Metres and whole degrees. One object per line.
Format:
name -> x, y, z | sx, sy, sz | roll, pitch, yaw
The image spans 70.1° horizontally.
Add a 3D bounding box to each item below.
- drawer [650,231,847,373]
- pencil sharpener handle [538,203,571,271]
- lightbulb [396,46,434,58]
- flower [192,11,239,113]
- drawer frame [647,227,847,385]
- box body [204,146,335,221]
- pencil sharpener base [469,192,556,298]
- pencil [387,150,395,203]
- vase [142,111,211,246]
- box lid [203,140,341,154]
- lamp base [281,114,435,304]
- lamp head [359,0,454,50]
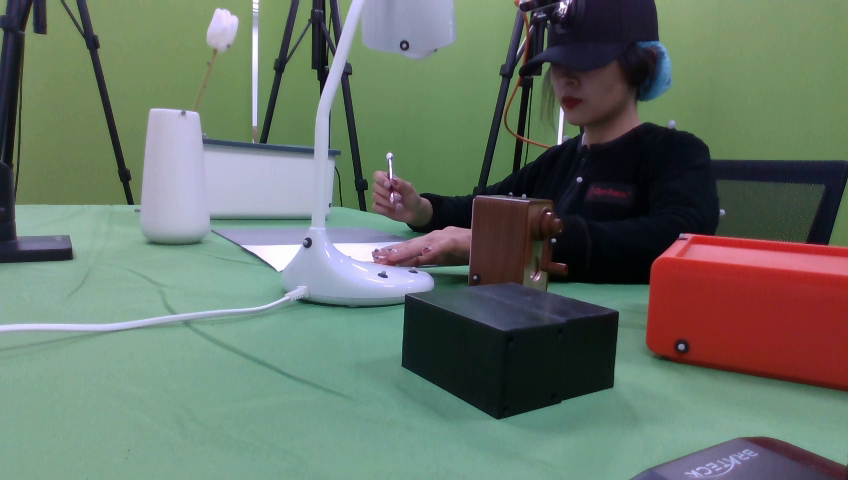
drawer -> 0.303, 0.044, 0.499 | 0.194, 0.073, 0.212 | 7, 9, 27
pencil sharpener handle -> 0.137, -0.003, 0.619 | 0.030, 0.067, 0.036 | 8, 6, 38
lightbulb -> -0.017, -0.264, 0.693 | 0.059, 0.108, 0.059 | -9, 28, 5
flower -> -0.354, -0.174, 0.915 | 0.038, 0.361, 0.044 | 18, -4, 12
drawer frame -> 0.303, 0.043, 0.495 | 0.201, 0.082, 0.214 | 6, 9, 26
box body -> -0.411, -0.135, 1.386 | 0.366, 0.160, 0.253 | -2, 9, -29
pencil sharpener base -> 0.097, 0.003, 0.652 | 0.076, 0.107, 0.061 | 8, 9, 38
pencil -> -0.059, -0.115, 1.084 | 0.012, 0.012, 0.193 | 1, 34, -6
vase -> -0.378, -0.093, 0.920 | 0.098, 0.200, 0.098 | 2, 9, 0
box lid -> -0.396, -0.212, 1.373 | 0.373, 0.015, 0.262 | -1, 9, -29
lamp base -> -0.071, -0.034, 0.615 | 0.160, 0.180, 0.180 | 5, 10, 27
lamp head -> -0.023, -0.282, 0.675 | 0.112, 0.123, 0.112 | -3, 38, 3
